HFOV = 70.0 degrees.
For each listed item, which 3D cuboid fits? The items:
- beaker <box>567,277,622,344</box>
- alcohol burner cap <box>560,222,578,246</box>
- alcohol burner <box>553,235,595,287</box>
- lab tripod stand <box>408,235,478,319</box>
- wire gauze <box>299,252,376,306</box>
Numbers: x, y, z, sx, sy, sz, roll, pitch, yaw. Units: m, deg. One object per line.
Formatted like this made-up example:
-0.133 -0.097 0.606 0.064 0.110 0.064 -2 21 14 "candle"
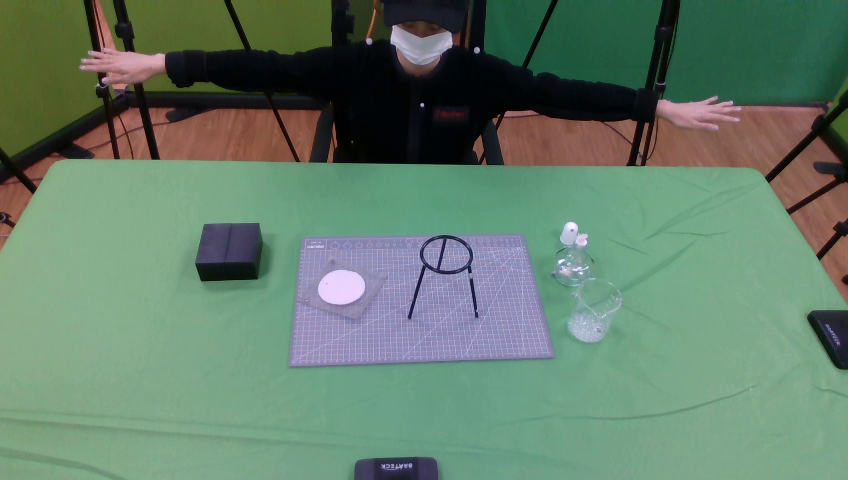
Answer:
0.291 0.127 1.045 0.074 0.101 0.083 7 47 4 "beaker"
0.295 -0.014 1.223 0.034 0.048 0.033 2 47 -2 "alcohol burner cap"
0.282 0.032 1.127 0.078 0.120 0.077 1 48 -1 "alcohol burner"
0.032 0.065 1.057 0.148 0.132 0.147 1 45 -1 "lab tripod stand"
-0.155 0.069 1.104 0.125 0.011 0.120 0 48 4 "wire gauze"
